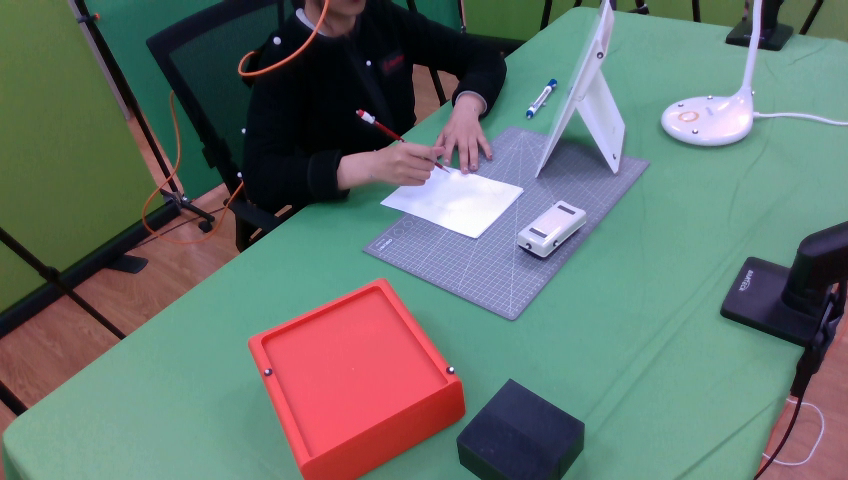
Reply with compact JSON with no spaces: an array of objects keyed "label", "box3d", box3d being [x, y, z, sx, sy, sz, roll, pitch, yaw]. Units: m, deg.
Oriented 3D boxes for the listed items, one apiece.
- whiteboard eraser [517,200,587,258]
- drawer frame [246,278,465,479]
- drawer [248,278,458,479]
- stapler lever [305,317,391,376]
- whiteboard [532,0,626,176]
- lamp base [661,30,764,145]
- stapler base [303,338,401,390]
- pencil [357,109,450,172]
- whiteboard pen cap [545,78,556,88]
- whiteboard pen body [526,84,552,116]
[{"label":"whiteboard eraser","box3d":[0.201,-0.016,0.943,0.113,0.042,0.055,-37,46,-29]},{"label":"drawer frame","box3d":[-0.088,0.168,0.752,0.202,0.083,0.211,-24,43,-18]},{"label":"drawer","box3d":[-0.092,0.168,0.756,0.195,0.073,0.210,-24,43,-18]},{"label":"stapler lever","box3d":[-0.099,0.137,0.789,0.118,0.040,0.026,-22,45,-12]},{"label":"whiteboard","box3d":[0.321,-0.258,1.050,0.144,0.306,0.217,21,45,5]},{"label":"lamp base","box3d":[0.535,-0.287,1.096,0.179,0.181,0.159,-10,40,-4]},{"label":"stapler base","box3d":[-0.096,0.159,0.812,0.131,0.024,0.041,-17,44,-17]},{"label":"pencil","box3d":[-0.032,-0.167,1.031,0.195,0.012,0.012,31,34,-23]},{"label":"whiteboard pen cap","box3d":[0.280,-0.344,1.335,0.018,0.018,0.033,15,44,26]},{"label":"whiteboard pen body","box3d":[0.251,-0.305,1.298,0.017,0.017,0.141,15,45,26]}]
